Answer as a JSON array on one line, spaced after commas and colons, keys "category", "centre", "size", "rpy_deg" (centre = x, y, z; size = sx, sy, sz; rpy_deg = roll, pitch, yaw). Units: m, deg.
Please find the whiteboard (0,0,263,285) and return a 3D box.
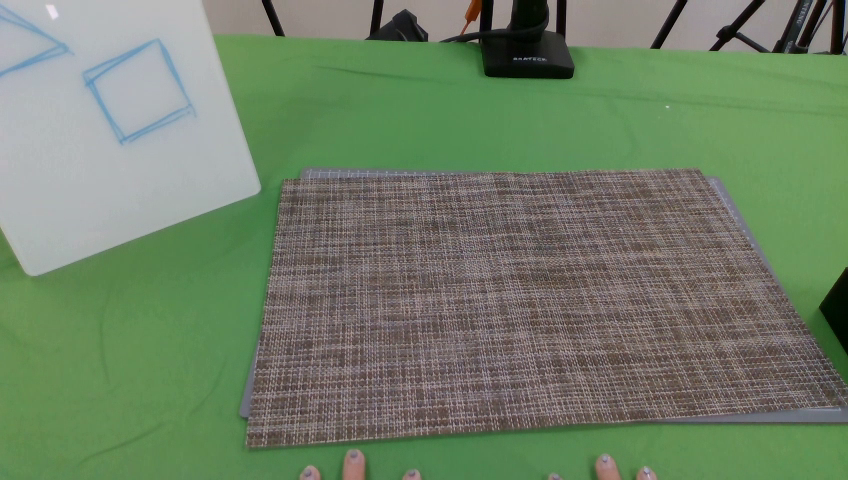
[{"category": "whiteboard", "centre": [-0.312, -0.156, 0.548], "size": [0.217, 0.308, 0.142], "rpy_deg": [-25, 30, -26]}]
